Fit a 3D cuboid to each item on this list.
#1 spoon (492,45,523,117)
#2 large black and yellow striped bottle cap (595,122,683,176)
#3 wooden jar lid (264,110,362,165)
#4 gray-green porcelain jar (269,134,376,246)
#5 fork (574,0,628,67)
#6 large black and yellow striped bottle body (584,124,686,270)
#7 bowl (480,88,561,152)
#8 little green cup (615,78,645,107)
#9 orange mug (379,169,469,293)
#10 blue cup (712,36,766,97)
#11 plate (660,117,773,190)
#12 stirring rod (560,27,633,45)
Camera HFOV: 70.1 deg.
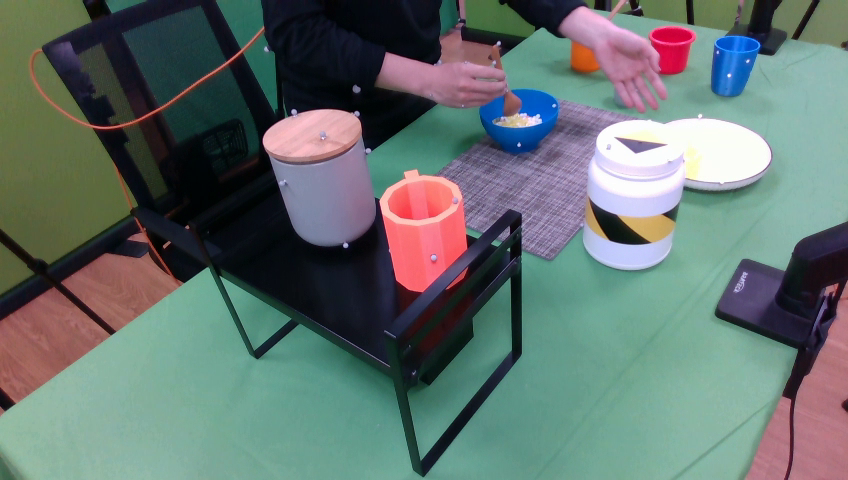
[{"bbox_3d":[0.140,-0.270,1.043,0.041,0.195,0.021,-30,58,5],"label":"spoon"},{"bbox_3d":[0.293,-0.126,0.826,0.115,0.019,0.114,-3,40,3],"label":"large black and yellow striped bottle cap"},{"bbox_3d":[-0.122,-0.112,0.673,0.108,0.021,0.108,-4,37,4],"label":"wooden jar lid"},{"bbox_3d":[-0.115,-0.064,0.715,0.106,0.127,0.105,-4,40,4],"label":"gray-green porcelain jar"},{"bbox_3d":[0.413,-0.481,1.377,0.207,0.019,0.028,-56,43,12],"label":"fork"},{"bbox_3d":[0.304,-0.063,0.880,0.131,0.185,0.130,-5,41,5],"label":"large black and yellow striped bottle body"},{"bbox_3d":[0.185,-0.222,1.160,0.151,0.077,0.150,-4,40,4],"label":"bowl"},{"bbox_3d":[0.426,-0.306,1.257,0.061,0.039,0.061,-4,40,4],"label":"little green cup"},{"bbox_3d":[-0.002,-0.019,0.666,0.083,0.101,0.125,-12,45,-4],"label":"orange mug"},{"bbox_3d":[0.627,-0.350,1.227,0.092,0.100,0.092,-4,39,4],"label":"blue cup"},{"bbox_3d":[0.495,-0.148,1.063,0.209,0.038,0.208,-5,40,4],"label":"plate"},{"bbox_3d":[0.381,-0.454,1.344,0.174,0.006,0.014,26,49,33],"label":"stirring rod"}]
